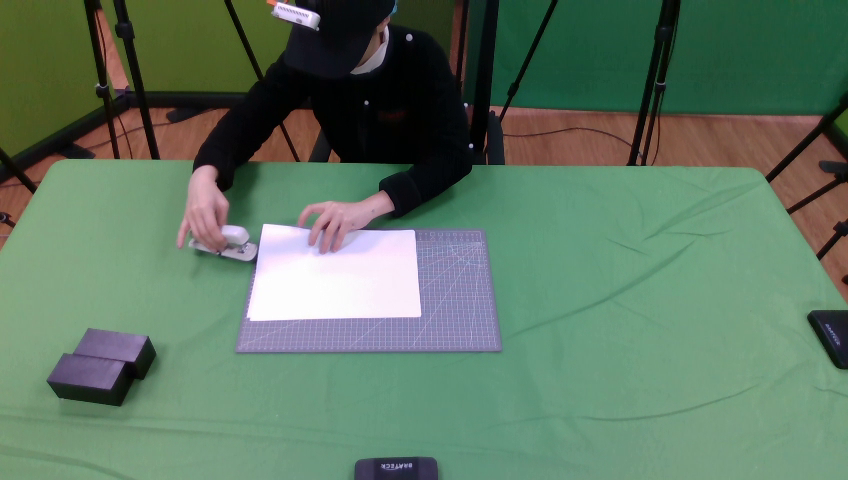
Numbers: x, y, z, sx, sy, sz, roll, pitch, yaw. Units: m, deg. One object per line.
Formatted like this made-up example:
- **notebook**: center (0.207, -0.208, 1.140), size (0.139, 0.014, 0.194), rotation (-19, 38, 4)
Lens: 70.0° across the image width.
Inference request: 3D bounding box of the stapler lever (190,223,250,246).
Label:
- **stapler lever**: center (-0.379, -0.015, 1.124), size (0.118, 0.040, 0.026), rotation (12, 42, 13)

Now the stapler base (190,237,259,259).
- **stapler base**: center (-0.377, 0.004, 1.141), size (0.130, 0.024, 0.041), rotation (12, 42, 12)
